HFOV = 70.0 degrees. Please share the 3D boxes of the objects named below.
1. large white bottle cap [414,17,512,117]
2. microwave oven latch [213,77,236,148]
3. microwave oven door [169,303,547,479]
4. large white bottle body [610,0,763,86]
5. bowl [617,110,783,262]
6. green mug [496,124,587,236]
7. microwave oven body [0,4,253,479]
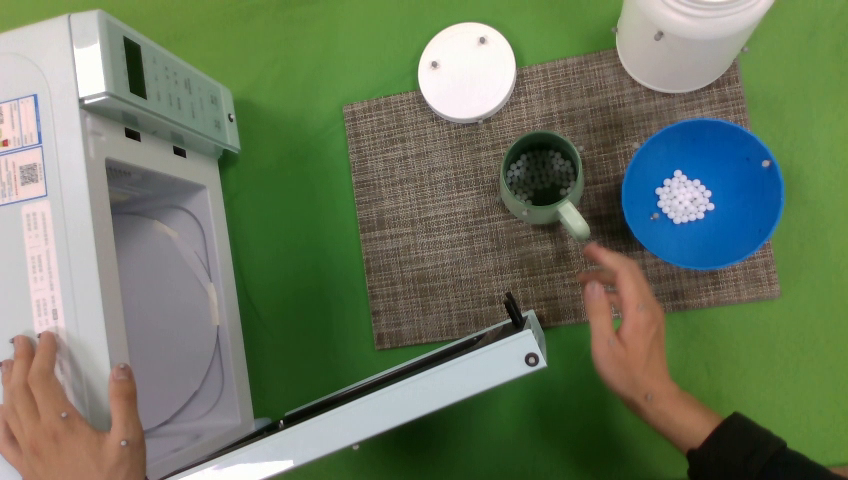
[{"bbox_3d":[0.045,-0.201,0.705,0.114,0.018,0.114,-1,87,10],"label":"large white bottle cap"},{"bbox_3d":[-0.251,-0.153,0.733,0.030,0.029,0.079,-11,86,9],"label":"microwave oven latch"},{"bbox_3d":[-0.052,0.153,0.582,0.356,0.244,0.039,-25,83,8],"label":"microwave oven door"},{"bbox_3d":[0.254,-0.242,0.584,0.130,0.185,0.130,-1,83,11],"label":"large white bottle body"},{"bbox_3d":[0.274,-0.051,0.627,0.151,0.077,0.151,-1,88,11],"label":"bowl"},{"bbox_3d":[0.131,-0.058,0.640,0.092,0.105,0.125,-37,82,7],"label":"green mug"},{"bbox_3d":[-0.382,0.042,0.651,0.326,0.261,0.440,-11,86,9],"label":"microwave oven body"}]
